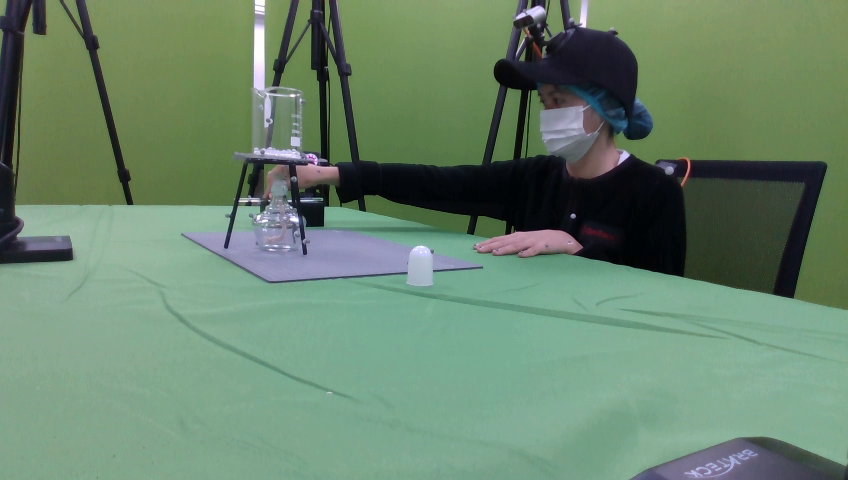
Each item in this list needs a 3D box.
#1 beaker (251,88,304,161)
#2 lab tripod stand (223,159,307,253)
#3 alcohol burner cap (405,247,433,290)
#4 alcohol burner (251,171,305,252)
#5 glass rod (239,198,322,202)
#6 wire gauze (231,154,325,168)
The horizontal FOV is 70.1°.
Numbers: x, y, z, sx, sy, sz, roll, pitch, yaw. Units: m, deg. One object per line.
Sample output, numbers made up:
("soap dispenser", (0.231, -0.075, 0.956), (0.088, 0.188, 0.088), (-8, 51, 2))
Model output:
("beaker", (-0.214, -0.165, 0.874), (0.074, 0.100, 0.084), (4, 6, 15))
("lab tripod stand", (-0.220, -0.053, 0.896), (0.148, 0.131, 0.148), (1, 6, 0))
("alcohol burner cap", (-0.005, 0.031, 0.698), (0.034, 0.048, 0.034), (3, 8, 0))
("alcohol burner", (-0.214, -0.042, 0.888), (0.078, 0.119, 0.078), (1, 9, 0))
("glass rod", (-0.292, -0.082, 1.231), (0.008, 0.008, 0.201), (10, 10, 43))
("wire gauze", (-0.215, -0.117, 0.882), (0.125, 0.011, 0.121), (3, 7, -19))
